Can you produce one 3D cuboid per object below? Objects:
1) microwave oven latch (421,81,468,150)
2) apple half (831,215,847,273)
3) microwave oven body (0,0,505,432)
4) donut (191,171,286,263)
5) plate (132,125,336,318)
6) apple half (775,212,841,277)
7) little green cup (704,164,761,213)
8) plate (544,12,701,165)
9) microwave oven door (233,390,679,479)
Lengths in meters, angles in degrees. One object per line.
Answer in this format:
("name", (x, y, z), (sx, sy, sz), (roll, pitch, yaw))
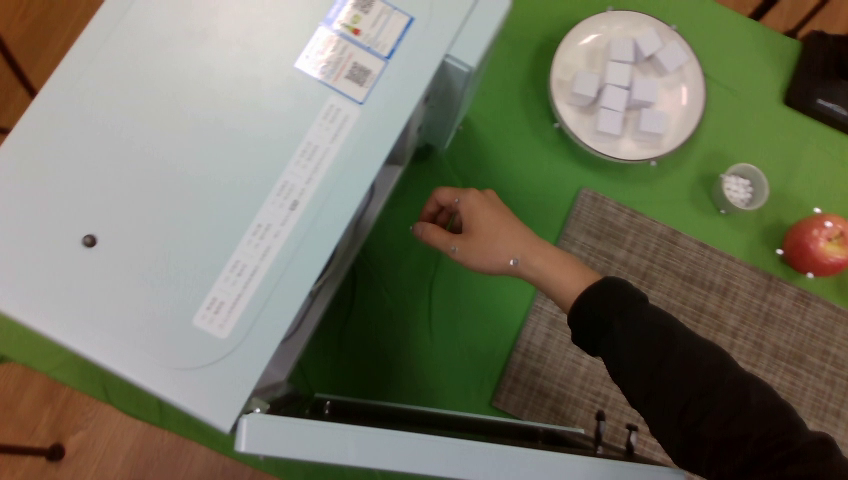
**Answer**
("microwave oven latch", (0.025, -0.152, 0.746), (0.030, 0.029, 0.079), (30, 79, 0))
("apple half", (0.517, 0.005, 0.770), (0.033, 0.081, 0.081), (-2, 80, -1))
("microwave oven body", (-0.178, -0.084, 0.616), (0.326, 0.260, 0.440), (28, 79, -1))
("donut", (-0.196, -0.023, 0.645), (0.099, 0.048, 0.098), (1, 82, -6))
("plate", (-0.200, -0.019, 0.653), (0.209, 0.038, 0.208), (1, 82, -6))
("apple half", (0.478, 0.007, 0.767), (0.053, 0.075, 0.080), (-2, 84, -1))
("little green cup", (0.399, -0.064, 0.788), (0.061, 0.039, 0.061), (1, 80, -5))
("plate", (0.256, -0.196, 0.796), (0.208, 0.039, 0.207), (1, 80, -5))
("microwave oven door", (0.020, 0.193, 0.584), (0.356, 0.244, 0.039), (9, 78, -4))
